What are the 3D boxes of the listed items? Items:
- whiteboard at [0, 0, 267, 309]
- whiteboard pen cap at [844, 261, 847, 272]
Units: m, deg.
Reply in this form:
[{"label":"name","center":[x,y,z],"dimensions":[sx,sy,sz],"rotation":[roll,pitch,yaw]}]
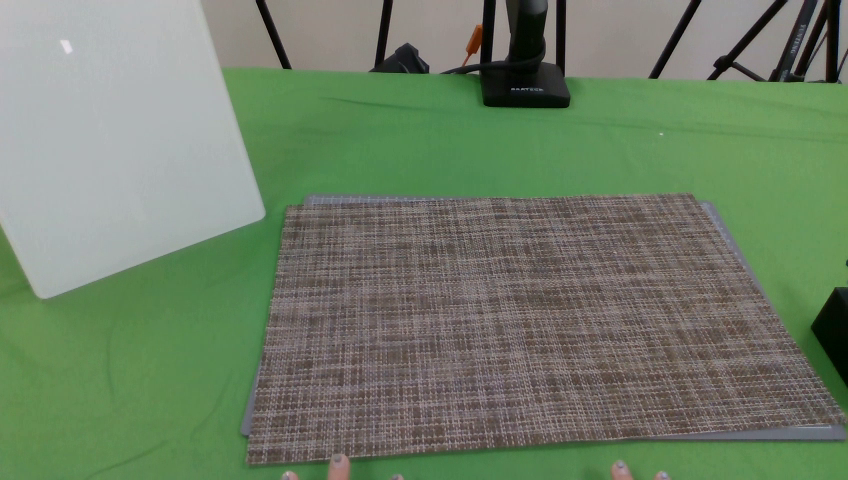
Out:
[{"label":"whiteboard","center":[-0.314,-0.131,0.574],"dimensions":[0.217,0.307,0.142],"rotation":[-24,27,-27]},{"label":"whiteboard pen cap","center":[0.370,0.029,0.507],"dimensions":[0.018,0.018,0.033],"rotation":[0,38,-1]}]
